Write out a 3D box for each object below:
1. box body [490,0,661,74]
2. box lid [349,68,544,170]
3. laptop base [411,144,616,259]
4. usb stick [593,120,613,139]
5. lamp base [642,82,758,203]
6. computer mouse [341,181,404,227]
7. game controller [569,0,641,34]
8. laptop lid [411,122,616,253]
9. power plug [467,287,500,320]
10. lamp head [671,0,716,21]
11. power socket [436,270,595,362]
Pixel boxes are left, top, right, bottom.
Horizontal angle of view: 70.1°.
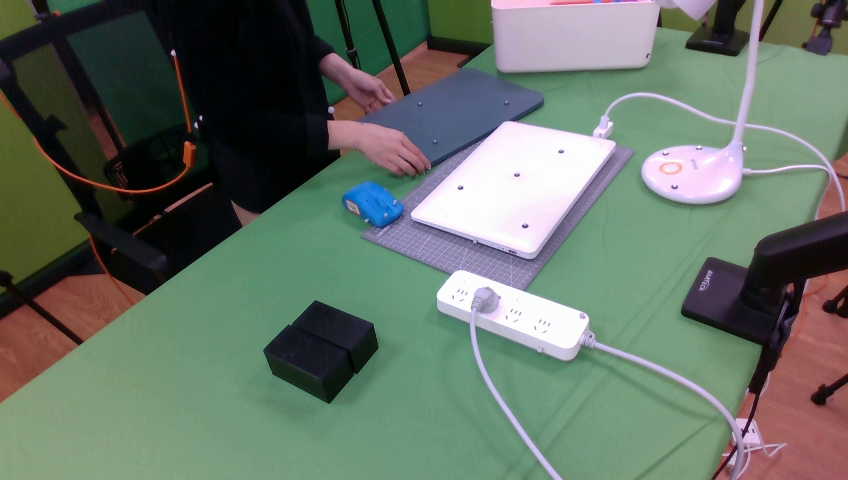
[{"bbox_3d":[0.346,-0.520,1.429,0.363,0.161,0.253,0,41,9],"label":"box body"},{"bbox_3d":[0.051,-0.271,1.297,0.373,0.015,0.261,-32,46,-26],"label":"box lid"},{"bbox_3d":[0.168,-0.101,1.073,0.234,0.023,0.355,17,46,30],"label":"laptop base"},{"bbox_3d":[0.336,-0.201,1.147,0.021,0.027,0.059,26,53,27],"label":"usb stick"},{"bbox_3d":[0.464,-0.174,0.992,0.179,0.181,0.159,-5,41,-2],"label":"lamp base"},{"bbox_3d":[-0.091,-0.066,1.052,0.063,0.041,0.116,-33,48,-29],"label":"computer mouse"},{"bbox_3d":[0.421,-0.522,1.395,0.155,0.052,0.096,-9,44,-3],"label":"game controller"},{"bbox_3d":[0.165,-0.111,1.067,0.240,0.013,0.357,19,46,31],"label":"laptop lid"},{"bbox_3d":[0.073,0.092,0.814,0.035,0.053,0.073,29,54,34],"label":"power plug"},{"bbox_3d":[0.375,-0.373,0.807,0.122,0.113,0.112,-40,27,32],"label":"lamp head"},{"bbox_3d":[0.118,0.101,0.832,0.225,0.033,0.072,19,48,27],"label":"power socket"}]
